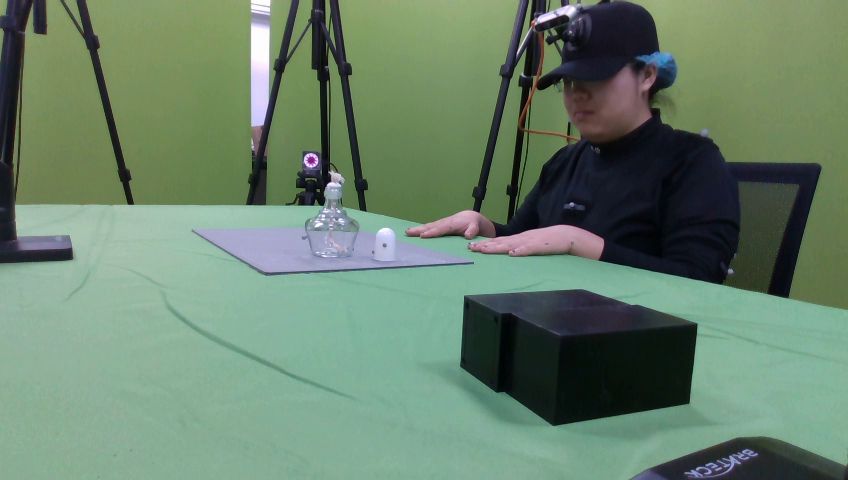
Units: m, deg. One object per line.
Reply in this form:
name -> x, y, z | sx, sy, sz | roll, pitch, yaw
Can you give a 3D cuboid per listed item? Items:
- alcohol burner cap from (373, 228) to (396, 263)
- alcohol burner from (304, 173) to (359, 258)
alcohol burner cap -> -0.054, 0.007, 0.836 | 0.034, 0.048, 0.034 | 3, 7, 0
alcohol burner -> -0.129, -0.035, 0.852 | 0.078, 0.119, 0.078 | 2, 5, 0
